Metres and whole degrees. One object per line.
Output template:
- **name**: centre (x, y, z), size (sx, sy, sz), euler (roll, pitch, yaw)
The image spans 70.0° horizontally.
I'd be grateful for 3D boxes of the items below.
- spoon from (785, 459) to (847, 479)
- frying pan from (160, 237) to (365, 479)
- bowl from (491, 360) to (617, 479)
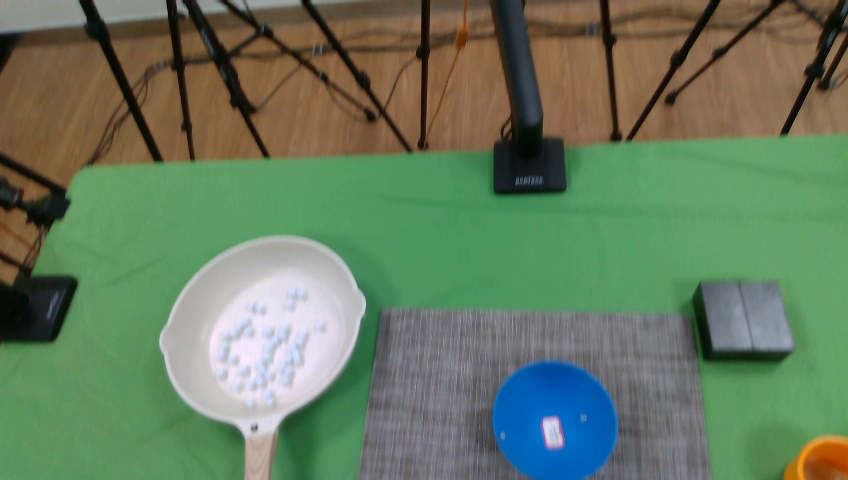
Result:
- **spoon**: centre (0.500, 0.263, 0.663), size (0.022, 0.193, 0.041), euler (29, 59, -25)
- **frying pan**: centre (-0.222, 0.214, 0.839), size (0.307, 0.104, 0.482), euler (-10, 50, 4)
- **bowl**: centre (0.164, 0.237, 0.771), size (0.151, 0.077, 0.150), euler (-4, 60, 7)
